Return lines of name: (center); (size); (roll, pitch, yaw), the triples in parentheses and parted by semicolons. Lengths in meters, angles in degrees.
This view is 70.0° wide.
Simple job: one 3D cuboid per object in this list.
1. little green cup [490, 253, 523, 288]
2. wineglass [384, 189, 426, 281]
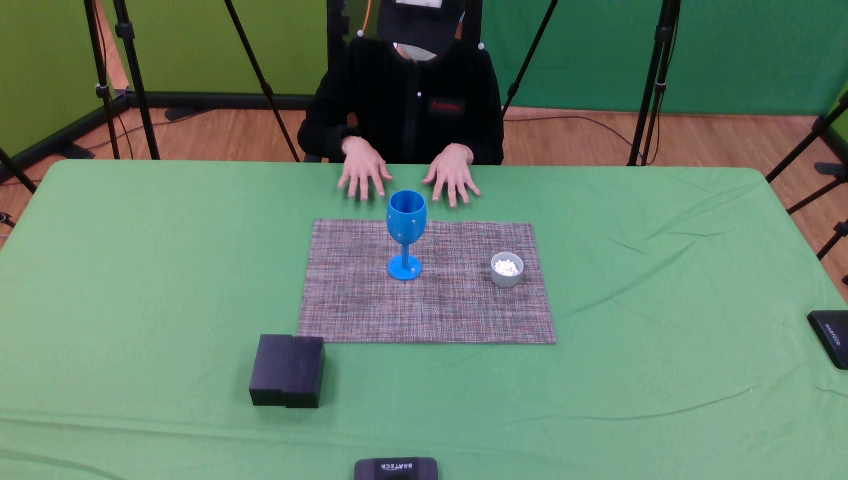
little green cup: (0.153, 0.059, 1.137); (0.061, 0.039, 0.061); (2, 46, -2)
wineglass: (-0.035, -0.006, 1.091); (0.074, 0.173, 0.073); (2, 46, -2)
